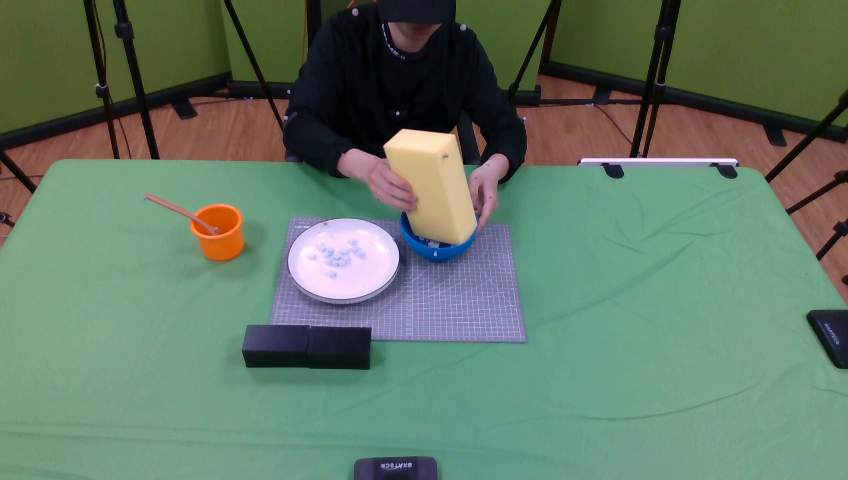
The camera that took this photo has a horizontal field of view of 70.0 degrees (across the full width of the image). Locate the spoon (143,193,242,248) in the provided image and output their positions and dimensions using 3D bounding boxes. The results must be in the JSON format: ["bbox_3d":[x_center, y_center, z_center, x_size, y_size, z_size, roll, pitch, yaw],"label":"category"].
[{"bbox_3d":[-0.421,-0.036,1.113,0.021,0.195,0.041,-36,37,23],"label":"spoon"}]

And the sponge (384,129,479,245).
[{"bbox_3d":[0.017,-0.094,1.095,0.118,0.208,0.061,14,48,34],"label":"sponge"}]

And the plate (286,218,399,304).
[{"bbox_3d":[-0.150,0.042,1.131,0.209,0.038,0.208,2,45,-2],"label":"plate"}]

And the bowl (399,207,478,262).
[{"bbox_3d":[0.025,-0.010,1.168,0.151,0.077,0.150,2,46,-2],"label":"bowl"}]
